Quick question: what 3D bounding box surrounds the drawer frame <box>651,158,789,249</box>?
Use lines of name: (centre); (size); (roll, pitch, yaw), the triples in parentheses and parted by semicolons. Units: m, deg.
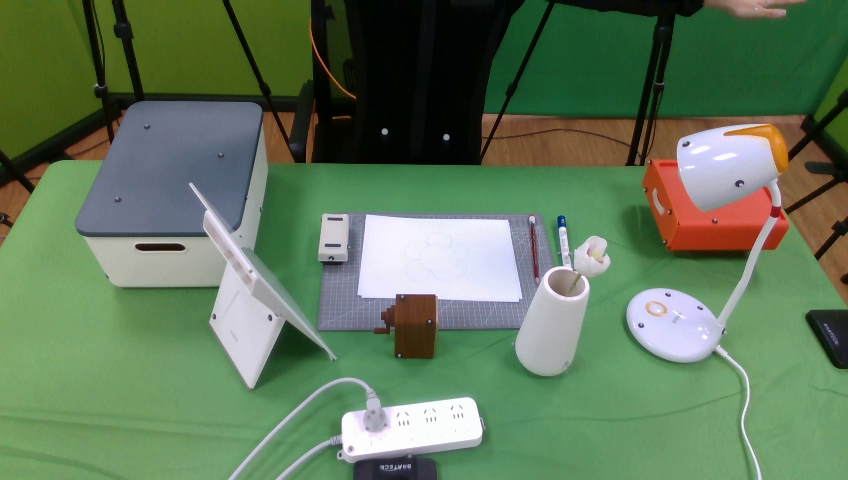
drawer frame: (0.571, -0.075, 1.214); (0.214, 0.083, 0.200); (0, 45, -1)

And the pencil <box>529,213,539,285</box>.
pencil: (0.220, 0.016, 1.204); (0.012, 0.012, 0.193); (5, 47, 0)

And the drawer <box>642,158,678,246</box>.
drawer: (0.566, -0.076, 1.211); (0.212, 0.073, 0.193); (2, 45, -2)

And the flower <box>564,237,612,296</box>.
flower: (0.206, 0.088, 0.893); (0.038, 0.363, 0.044); (-17, 67, -9)

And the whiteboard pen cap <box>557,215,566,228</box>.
whiteboard pen cap: (0.284, -0.035, 1.246); (0.018, 0.018, 0.033); (4, 52, -1)

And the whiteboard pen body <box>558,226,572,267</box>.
whiteboard pen body: (0.280, 0.010, 1.208); (0.017, 0.017, 0.140); (3, 50, -1)

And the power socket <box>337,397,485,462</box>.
power socket: (-0.018, 0.285, 0.915); (0.227, 0.033, 0.071); (-5, 46, -8)

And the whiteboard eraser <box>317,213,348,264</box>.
whiteboard eraser: (-0.175, -0.003, 1.169); (0.055, 0.042, 0.112); (-1, 46, -3)

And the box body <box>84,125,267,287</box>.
box body: (-0.446, -0.088, 1.150); (0.254, 0.161, 0.361); (-1, 46, -5)

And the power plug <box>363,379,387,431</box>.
power plug: (-0.072, 0.252, 0.910); (0.035, 0.053, 0.072); (3, 45, -1)

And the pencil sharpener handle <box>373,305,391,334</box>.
pencil sharpener handle: (-0.069, 0.133, 0.989); (0.030, 0.068, 0.036); (1, 47, -2)

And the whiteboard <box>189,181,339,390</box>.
whiteboard: (-0.292, 0.096, 0.929); (0.144, 0.307, 0.216); (-37, 57, -10)

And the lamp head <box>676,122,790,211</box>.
lamp head: (0.423, -0.104, 0.819); (0.122, 0.113, 0.112); (-13, 33, 40)

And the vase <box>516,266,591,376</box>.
vase: (0.208, 0.132, 0.964); (0.098, 0.201, 0.097); (3, 46, -3)

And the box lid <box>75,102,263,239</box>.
box lid: (-0.443, -0.138, 1.094); (0.263, 0.015, 0.369); (-1, 47, -5)

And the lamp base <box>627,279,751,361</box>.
lamp base: (0.459, 0.100, 1.027); (0.178, 0.181, 0.160); (27, 51, 17)

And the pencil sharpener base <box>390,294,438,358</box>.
pencil sharpener base: (-0.018, 0.143, 1.000); (0.077, 0.107, 0.061); (1, 46, -2)
